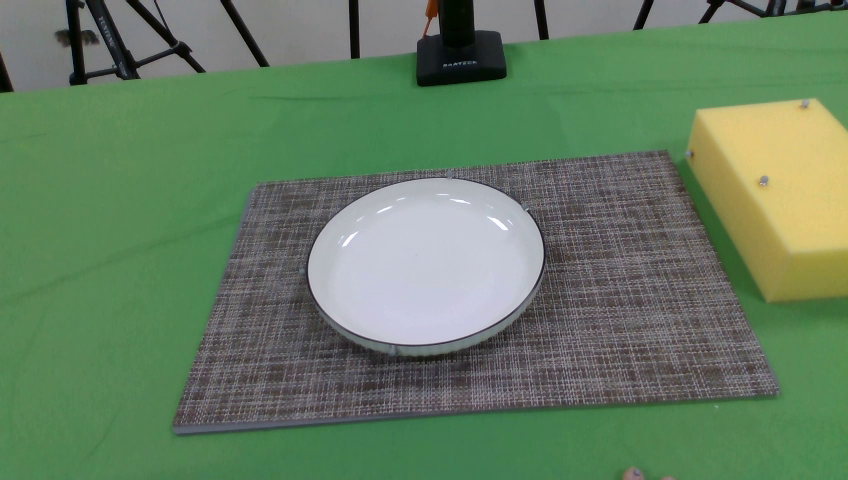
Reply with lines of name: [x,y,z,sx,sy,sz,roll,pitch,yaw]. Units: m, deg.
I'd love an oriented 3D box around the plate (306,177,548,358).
plate: [0.003,0.022,0.534,0.207,0.039,0.205,-4,43,4]

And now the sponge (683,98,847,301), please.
sponge: [0.330,-0.045,0.544,0.118,0.061,0.204,-6,43,2]
